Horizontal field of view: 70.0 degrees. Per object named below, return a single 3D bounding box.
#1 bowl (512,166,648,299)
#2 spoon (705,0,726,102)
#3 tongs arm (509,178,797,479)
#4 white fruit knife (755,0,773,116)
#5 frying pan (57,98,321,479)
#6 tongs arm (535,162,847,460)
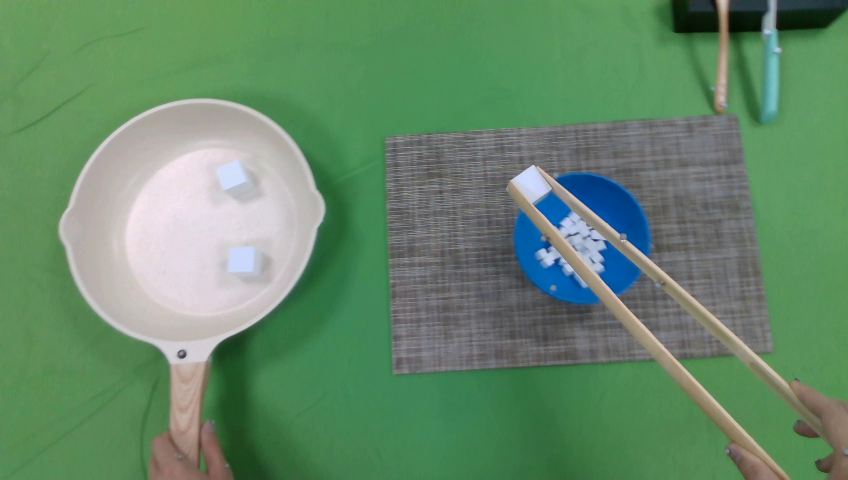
[{"bbox_3d":[0.173,-0.002,0.706,0.151,0.077,0.150,0,79,1],"label":"bowl"},{"bbox_3d":[0.364,-0.271,0.749,0.041,0.022,0.194,8,101,25],"label":"spoon"},{"bbox_3d":[0.194,0.073,0.520,0.028,0.028,0.383,-31,60,-13],"label":"tongs arm"},{"bbox_3d":[0.420,-0.261,0.751,0.016,0.027,0.207,-3,94,-3],"label":"white fruit knife"},{"bbox_3d":[-0.265,0.075,0.693,0.307,0.103,0.484,-4,71,2],"label":"frying pan"},{"bbox_3d":[0.214,0.061,0.524,0.051,0.027,0.381,-37,61,-13],"label":"tongs arm"}]
